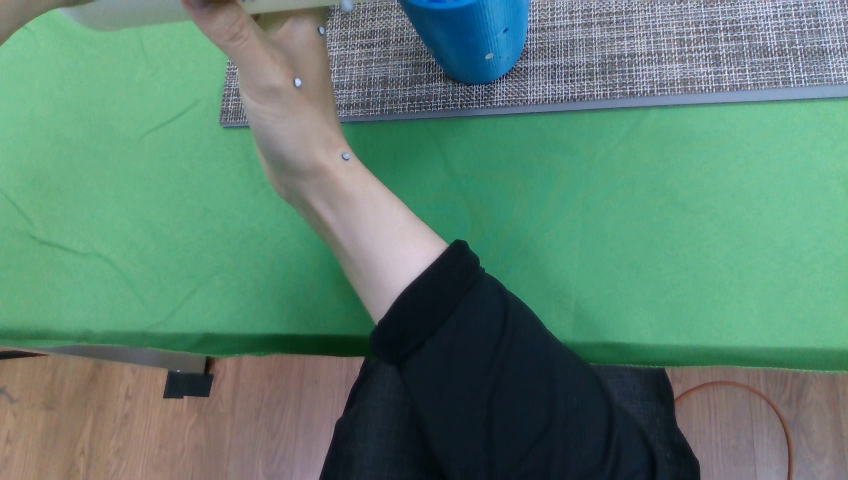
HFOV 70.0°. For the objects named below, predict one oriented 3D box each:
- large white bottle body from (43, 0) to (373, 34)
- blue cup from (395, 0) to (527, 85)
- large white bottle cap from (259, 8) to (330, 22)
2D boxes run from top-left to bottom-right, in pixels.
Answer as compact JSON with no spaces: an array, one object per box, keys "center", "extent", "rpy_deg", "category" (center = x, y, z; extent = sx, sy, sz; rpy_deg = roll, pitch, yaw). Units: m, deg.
[{"center":[-0.084,-0.173,0.278],"extent":[0.185,0.131,0.129],"rpy_deg":[-7,72,-1],"category":"large white bottle body"},{"center":[0.027,-0.150,0.381],"extent":[0.092,0.101,0.092],"rpy_deg":[-4,72,13],"category":"blue cup"},{"center":[-0.102,-0.225,0.475],"extent":[0.114,0.018,0.114],"rpy_deg":[-3,74,11],"category":"large white bottle cap"}]
